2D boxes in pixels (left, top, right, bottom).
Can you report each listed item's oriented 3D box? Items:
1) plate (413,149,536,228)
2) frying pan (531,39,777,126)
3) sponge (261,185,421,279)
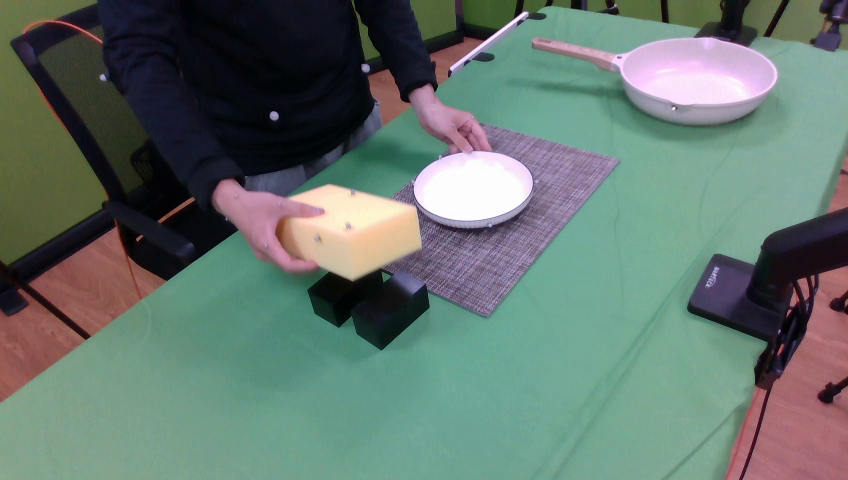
[{"bbox_3d":[0.086,-0.085,1.038,0.207,0.039,0.206,-4,40,4],"label":"plate"},{"bbox_3d":[0.452,-0.354,1.254,0.485,0.103,0.307,22,47,19],"label":"frying pan"},{"bbox_3d":[-0.118,-0.018,0.831,0.119,0.061,0.205,-26,28,-37],"label":"sponge"}]
